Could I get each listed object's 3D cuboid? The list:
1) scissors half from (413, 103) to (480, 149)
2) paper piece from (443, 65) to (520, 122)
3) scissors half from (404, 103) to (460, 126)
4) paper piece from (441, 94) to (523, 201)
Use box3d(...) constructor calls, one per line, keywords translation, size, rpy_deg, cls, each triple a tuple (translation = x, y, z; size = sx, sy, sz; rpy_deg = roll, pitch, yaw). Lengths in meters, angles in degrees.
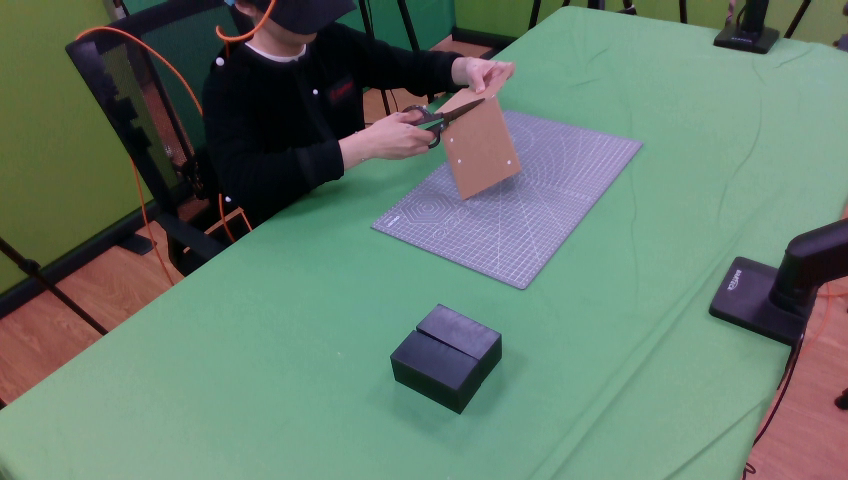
box3d(translation=(0.046, -0.202, 1.059), size=(0.174, 0.040, 0.013), rpy_deg=(-25, 17, 40), cls="scissors half")
box3d(translation=(0.099, -0.258, 1.079), size=(0.134, 0.004, 0.136), rpy_deg=(-19, 27, 40), cls="paper piece")
box3d(translation=(0.038, -0.221, 1.052), size=(0.174, 0.040, 0.013), rpy_deg=(4, 29, 30), cls="scissors half")
box3d(translation=(0.093, -0.153, 1.023), size=(0.009, 0.138, 0.135), rpy_deg=(-14, -9, -43), cls="paper piece")
